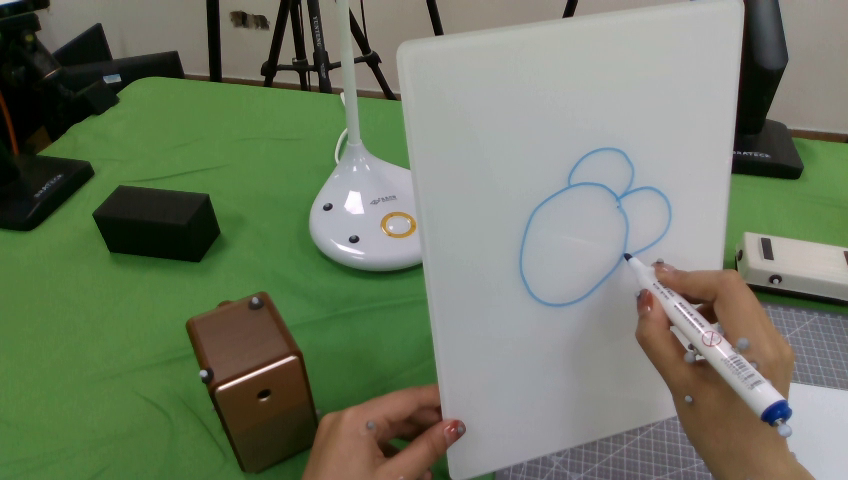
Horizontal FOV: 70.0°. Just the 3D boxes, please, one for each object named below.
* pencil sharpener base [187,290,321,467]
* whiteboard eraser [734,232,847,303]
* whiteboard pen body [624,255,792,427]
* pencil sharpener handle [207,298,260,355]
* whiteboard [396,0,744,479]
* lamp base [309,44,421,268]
[{"bbox_3d":[-0.123,0.100,0.443,0.061,0.108,0.076,-22,45,-21],"label":"pencil sharpener base"},{"bbox_3d":[0.354,0.028,0.569,0.112,0.042,0.055,9,40,12],"label":"whiteboard eraser"},{"bbox_3d":[0.154,0.049,0.349,0.017,0.017,0.139,-13,38,-13],"label":"whiteboard pen body"},{"bbox_3d":[-0.147,0.062,0.469,0.036,0.068,0.030,-28,47,-15],"label":"pencil sharpener handle"},{"bbox_3d":[0.090,-0.007,0.455,0.217,0.307,0.142,-12,23,-11],"label":"whiteboard"},{"bbox_3d":[-0.051,-0.091,0.606,0.161,0.182,0.177,-25,44,-25],"label":"lamp base"}]
